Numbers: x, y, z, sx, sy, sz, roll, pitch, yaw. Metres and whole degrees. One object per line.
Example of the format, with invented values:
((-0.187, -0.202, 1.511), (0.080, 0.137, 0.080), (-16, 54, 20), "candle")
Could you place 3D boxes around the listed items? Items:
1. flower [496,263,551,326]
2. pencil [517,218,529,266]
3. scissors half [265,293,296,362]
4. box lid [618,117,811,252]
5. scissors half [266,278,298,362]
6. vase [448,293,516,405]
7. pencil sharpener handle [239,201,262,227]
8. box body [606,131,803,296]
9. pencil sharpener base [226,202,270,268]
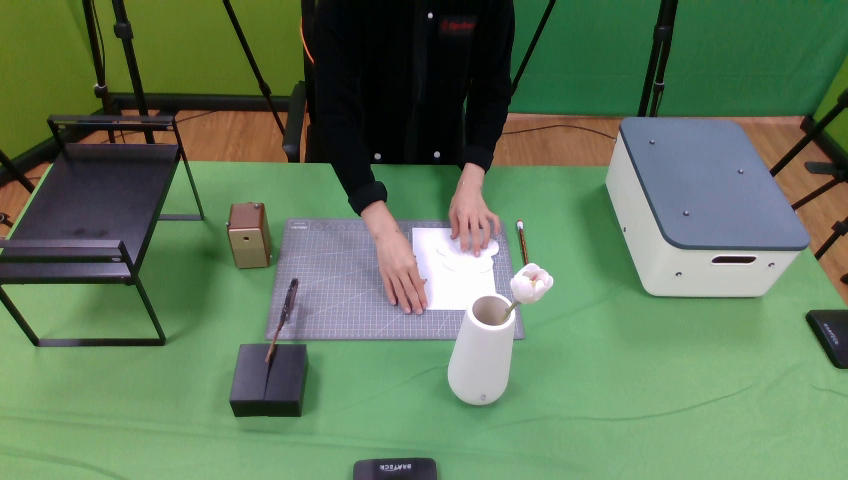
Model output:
((0.102, 0.120, 0.853), (0.044, 0.363, 0.038), (-2, 64, -10), "flower")
((0.200, 0.028, 1.196), (0.012, 0.012, 0.193), (1, 48, -3), "pencil")
((-0.239, 0.143, 1.005), (0.013, 0.040, 0.174), (16, 28, -6), "scissors half")
((0.534, -0.117, 1.149), (0.263, 0.015, 0.369), (0, 47, -3), "box lid")
((-0.234, 0.127, 0.993), (0.013, 0.040, 0.174), (12, 46, -3), "scissors half")
((0.091, 0.169, 0.921), (0.098, 0.201, 0.097), (3, 47, -3), "vase")
((-0.325, -0.056, 1.150), (0.036, 0.068, 0.030), (-13, 46, 3), "pencil sharpener handle")
((0.530, -0.067, 1.204), (0.254, 0.161, 0.361), (0, 46, -4), "box body")
((-0.323, -0.010, 1.123), (0.061, 0.107, 0.076), (-3, 46, -7), "pencil sharpener base")
